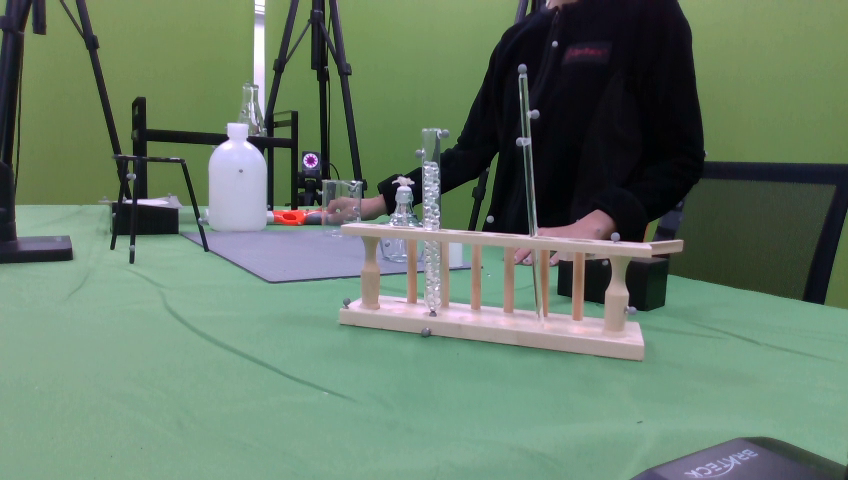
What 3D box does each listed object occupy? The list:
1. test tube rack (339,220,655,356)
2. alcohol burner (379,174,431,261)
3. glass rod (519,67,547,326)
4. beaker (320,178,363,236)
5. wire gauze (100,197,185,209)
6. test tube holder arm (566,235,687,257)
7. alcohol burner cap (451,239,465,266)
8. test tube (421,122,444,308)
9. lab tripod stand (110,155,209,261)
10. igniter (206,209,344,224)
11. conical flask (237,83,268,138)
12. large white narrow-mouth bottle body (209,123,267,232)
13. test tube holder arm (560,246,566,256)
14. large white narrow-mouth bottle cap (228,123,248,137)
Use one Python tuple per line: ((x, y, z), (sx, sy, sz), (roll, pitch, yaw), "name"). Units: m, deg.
((0.056, 0.032, 0.495), (0.242, 0.085, 0.067), (4, 7, 15), "test tube rack")
((-0.027, -0.031, 0.838), (0.078, 0.119, 0.078), (0, 6, 0), "alcohol burner")
((0.084, -0.029, 0.458), (0.008, 0.199, 0.008), (-6, 11, 2), "glass rod")
((-0.145, -0.059, 1.079), (0.074, 0.100, 0.083), (-4, 10, -36), "beaker")
((-0.469, -0.062, 1.008), (0.126, 0.011, 0.121), (-2, 8, -25), "wire gauze")
((0.215, 0.006, 0.630), (0.179, 0.015, 0.013), (-3, 9, -31), "test tube holder arm")
((0.041, 0.010, 0.815), (0.034, 0.048, 0.034), (4, 7, 0), "alcohol burner cap")
((0.007, -0.019, 0.486), (0.017, 0.150, 0.017), (-1, 8, 0), "test tube")
((-0.361, -0.046, 0.806), (0.148, 0.131, 0.148), (2, 5, 0), "lab tripod stand")
((-0.299, -0.049, 1.242), (0.278, 0.025, 0.057), (-1, 28, -27), "igniter")
((-0.402, -0.299, 1.406), (0.075, 0.122, 0.075), (2, 7, 0), "conical flask")
((-0.340, -0.115, 1.109), (0.102, 0.194, 0.102), (2, 8, 0), "large white narrow-mouth bottle body")
((0.173, 0.007, 0.612), (0.088, 0.015, 0.010), (-3, 9, -29), "test tube holder arm")
((-0.338, -0.199, 1.097), (0.038, 0.024, 0.037), (2, 8, 0), "large white narrow-mouth bottle cap")
